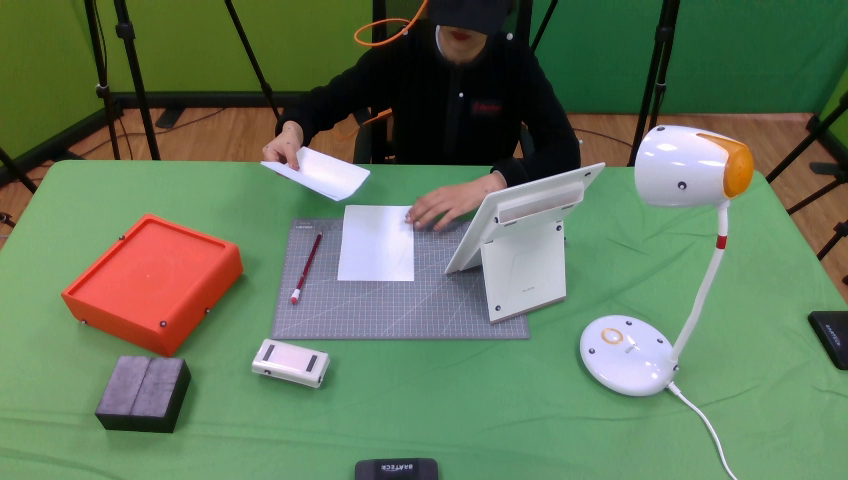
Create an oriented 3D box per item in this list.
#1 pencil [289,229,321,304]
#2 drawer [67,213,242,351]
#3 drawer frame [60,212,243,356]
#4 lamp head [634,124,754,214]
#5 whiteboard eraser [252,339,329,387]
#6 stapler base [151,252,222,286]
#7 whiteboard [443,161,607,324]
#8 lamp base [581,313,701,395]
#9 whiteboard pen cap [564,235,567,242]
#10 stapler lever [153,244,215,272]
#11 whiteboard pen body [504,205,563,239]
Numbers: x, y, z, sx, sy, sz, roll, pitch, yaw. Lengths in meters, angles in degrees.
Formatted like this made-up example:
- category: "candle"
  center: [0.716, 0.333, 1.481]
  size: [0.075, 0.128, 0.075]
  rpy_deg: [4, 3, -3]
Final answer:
- category: "pencil"
  center: [-0.220, 0.045, 1.141]
  size: [0.012, 0.012, 0.193]
  rpy_deg: [8, 45, 4]
- category: "drawer"
  center: [-0.461, 0.068, 1.056]
  size: [0.194, 0.073, 0.211]
  rpy_deg: [19, 48, 13]
- category: "drawer frame"
  center: [-0.462, 0.070, 1.053]
  size: [0.201, 0.083, 0.213]
  rpy_deg: [18, 48, 12]
- category: "lamp head"
  center: [0.351, -0.089, 0.775]
  size: [0.112, 0.113, 0.122]
  rpy_deg: [-30, 30, -28]
- category: "whiteboard eraser"
  center: [-0.215, 0.199, 0.976]
  size: [0.112, 0.042, 0.055]
  rpy_deg: [12, 45, 7]
- category: "stapler base"
  center: [-0.432, 0.047, 1.102]
  size: [0.130, 0.024, 0.041]
  rpy_deg: [16, 33, 12]
- category: "whiteboard"
  center: [0.185, 0.026, 1.028]
  size: [0.217, 0.306, 0.143]
  rpy_deg: [-15, 68, -18]
- category: "lamp base"
  center: [0.361, 0.144, 0.973]
  size: [0.178, 0.181, 0.160]
  rpy_deg: [34, 53, 23]
- category: "whiteboard pen cap"
  center: [0.271, -0.008, 1.225]
  size: [0.033, 0.018, 0.018]
  rpy_deg: [33, 53, 22]
- category: "stapler lever"
  center: [-0.430, 0.026, 1.087]
  size: [0.118, 0.040, 0.027]
  rpy_deg: [15, 33, 12]
- category: "whiteboard pen body"
  center: [0.225, -0.036, 1.249]
  size: [0.140, 0.017, 0.017]
  rpy_deg: [31, 52, 23]
